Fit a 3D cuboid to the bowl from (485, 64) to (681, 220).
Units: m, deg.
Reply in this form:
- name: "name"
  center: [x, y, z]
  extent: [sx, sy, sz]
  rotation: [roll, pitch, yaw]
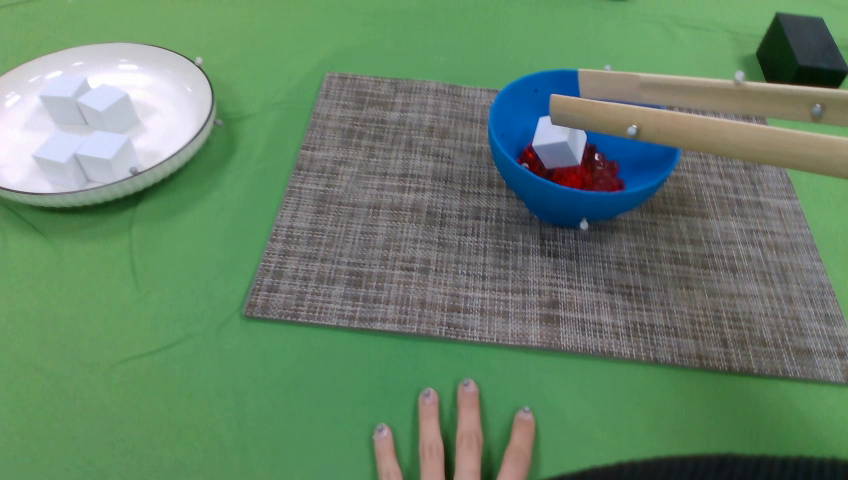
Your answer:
- name: "bowl"
  center: [0.121, -0.069, 0.502]
  extent: [0.151, 0.077, 0.150]
  rotation: [2, 51, -2]

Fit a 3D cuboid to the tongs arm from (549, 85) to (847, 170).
- name: "tongs arm"
  center: [0.246, -0.057, 0.348]
  extent: [0.384, 0.028, 0.028]
  rotation: [18, 43, 34]

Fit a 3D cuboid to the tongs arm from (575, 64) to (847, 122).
- name: "tongs arm"
  center: [0.263, -0.072, 0.363]
  extent: [0.382, 0.027, 0.050]
  rotation: [15, 45, 32]

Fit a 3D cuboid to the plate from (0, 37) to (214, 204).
- name: "plate"
  center: [-0.292, -0.105, 0.534]
  extent: [0.209, 0.038, 0.207]
  rotation: [2, 51, -2]
